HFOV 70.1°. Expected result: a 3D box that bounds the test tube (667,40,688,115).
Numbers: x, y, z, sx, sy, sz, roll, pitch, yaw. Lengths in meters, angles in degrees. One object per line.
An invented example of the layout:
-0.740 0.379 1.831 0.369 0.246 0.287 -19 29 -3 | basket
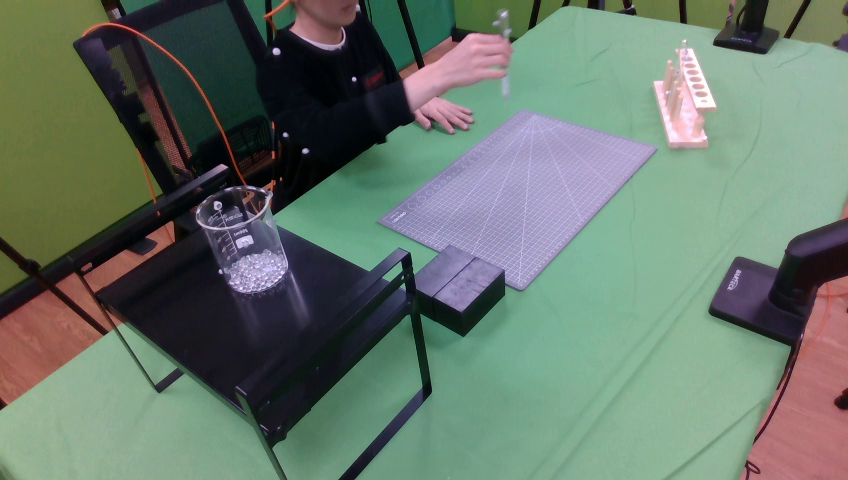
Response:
0.477 -0.303 1.138 0.017 0.151 0.017 -5 42 5 | test tube

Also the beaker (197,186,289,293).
-0.192 0.001 0.666 0.084 0.101 0.073 -32 47 -27 | beaker

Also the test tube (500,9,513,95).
0.139 -0.313 1.018 0.017 0.151 0.017 -6 42 5 | test tube

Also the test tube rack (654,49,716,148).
0.502 -0.281 1.176 0.066 0.085 0.241 1 41 11 | test tube rack
